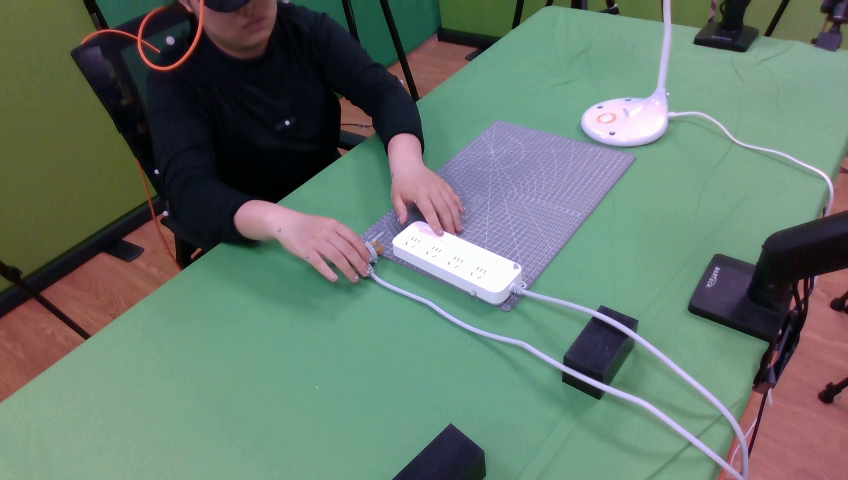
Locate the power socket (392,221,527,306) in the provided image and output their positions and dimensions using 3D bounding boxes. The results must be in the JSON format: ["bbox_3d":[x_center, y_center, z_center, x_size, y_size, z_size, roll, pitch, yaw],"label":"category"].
[{"bbox_3d":[0.046,0.031,0.913,0.225,0.033,0.072,25,51,32],"label":"power socket"}]

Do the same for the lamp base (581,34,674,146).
[{"bbox_3d":[0.392,-0.291,1.129,0.180,0.181,0.159,-11,41,-8],"label":"lamp base"}]

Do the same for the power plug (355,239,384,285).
[{"bbox_3d":[-0.077,0.033,0.947,0.053,0.035,0.072,-31,82,-19],"label":"power plug"}]
